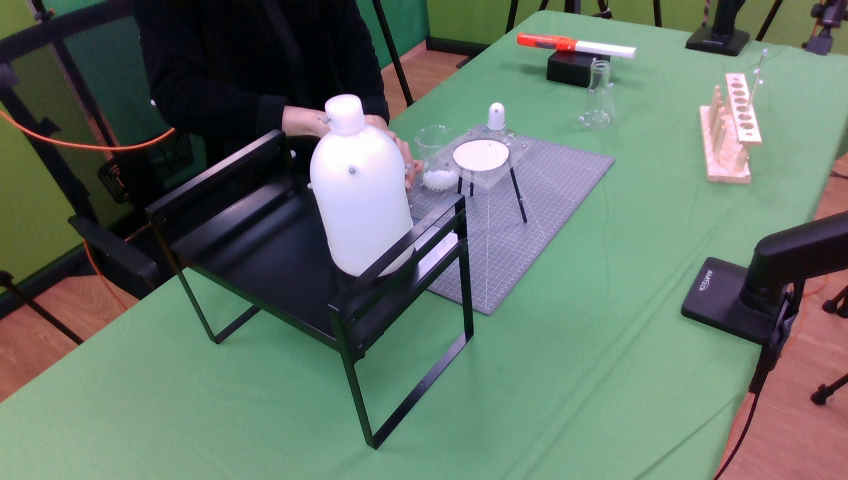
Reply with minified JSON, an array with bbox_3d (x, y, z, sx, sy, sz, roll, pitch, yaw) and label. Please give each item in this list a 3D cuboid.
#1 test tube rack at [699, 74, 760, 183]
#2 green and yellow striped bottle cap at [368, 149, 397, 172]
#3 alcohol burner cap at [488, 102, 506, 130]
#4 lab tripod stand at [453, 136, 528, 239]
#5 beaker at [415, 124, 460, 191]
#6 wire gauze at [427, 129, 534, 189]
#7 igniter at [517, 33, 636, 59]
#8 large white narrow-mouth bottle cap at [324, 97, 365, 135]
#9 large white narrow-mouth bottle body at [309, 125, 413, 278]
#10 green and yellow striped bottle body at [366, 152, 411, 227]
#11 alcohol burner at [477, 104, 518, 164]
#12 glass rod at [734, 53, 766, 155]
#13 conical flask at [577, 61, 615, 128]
[{"bbox_3d":[0.547,-0.208,1.095,0.066,0.085,0.242,6,42,16],"label":"test tube rack"},{"bbox_3d":[-0.067,-0.128,0.967,0.045,0.020,0.045,-5,35,4],"label":"green and yellow striped bottle cap"},{"bbox_3d":[0.133,-0.227,1.092,0.034,0.048,0.033,-1,47,2],"label":"alcohol burner cap"},{"bbox_3d":[0.094,-0.086,0.974,0.148,0.132,0.147,-4,43,4],"label":"lab tripod stand"},{"bbox_3d":[0.027,-0.147,1.081,0.073,0.100,0.084,12,43,21],"label":"beaker"},{"bbox_3d":[0.086,-0.131,0.924,0.124,0.011,0.122,26,52,33],"label":"wire gauze"},{"bbox_3d":[0.336,-0.441,1.369,0.275,0.025,0.057,16,41,23],"label":"igniter"},{"bbox_3d":[-0.076,-0.120,0.585,0.038,0.024,0.037,-3,42,3],"label":"large white narrow-mouth bottle cap"},{"bbox_3d":[-0.068,-0.057,0.644,0.102,0.195,0.101,-3,42,4],"label":"large white narrow-mouth bottle body"},{"bbox_3d":[-0.060,-0.085,1.005,0.063,0.120,0.063,-4,40,4],"label":"green and yellow striped bottle body"},{"bbox_3d":[0.135,-0.200,1.117,0.078,0.119,0.077,-4,43,4],"label":"alcohol burner"},{"bbox_3d":[0.540,-0.220,1.007,0.008,0.201,0.008,-5,46,6],"label":"glass rod"},{"bbox_3d":[0.343,-0.288,1.188,0.075,0.122,0.075,-4,41,4],"label":"conical flask"}]
